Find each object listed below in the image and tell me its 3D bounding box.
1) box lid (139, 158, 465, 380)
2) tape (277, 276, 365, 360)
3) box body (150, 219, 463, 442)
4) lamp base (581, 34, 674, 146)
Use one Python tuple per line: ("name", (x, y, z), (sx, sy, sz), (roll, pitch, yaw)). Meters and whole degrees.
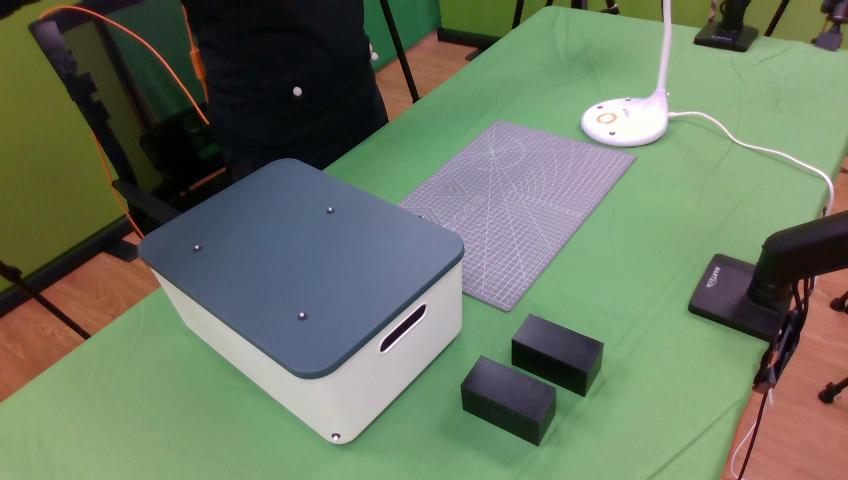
("box lid", (-0.158, 0.010, 0.758), (0.368, 0.015, 0.264), (26, 50, 33))
("tape", (-0.140, 0.106, 0.832), (0.117, 0.053, 0.116), (-4, 41, 4))
("box body", (-0.151, 0.064, 0.807), (0.361, 0.161, 0.255), (26, 51, 33))
("lamp base", (0.392, -0.291, 1.129), (0.180, 0.181, 0.159), (-11, 41, -8))
